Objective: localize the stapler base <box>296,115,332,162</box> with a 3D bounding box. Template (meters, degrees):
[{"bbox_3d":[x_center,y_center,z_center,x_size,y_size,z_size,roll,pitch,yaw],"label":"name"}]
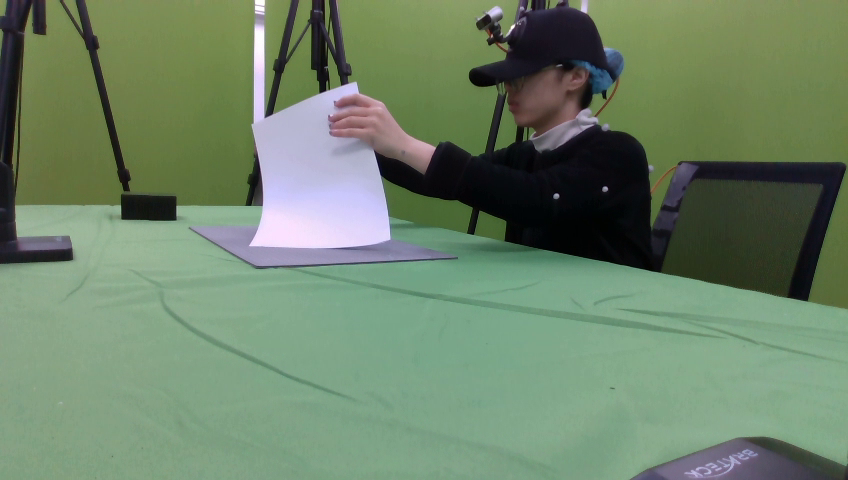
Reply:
[{"bbox_3d":[-0.219,-0.204,1.188,0.041,0.024,0.131,-29,-29,-6],"label":"stapler base"}]

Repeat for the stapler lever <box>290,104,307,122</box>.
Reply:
[{"bbox_3d":[-0.232,-0.221,1.201,0.027,0.040,0.118,-29,-29,-6],"label":"stapler lever"}]
